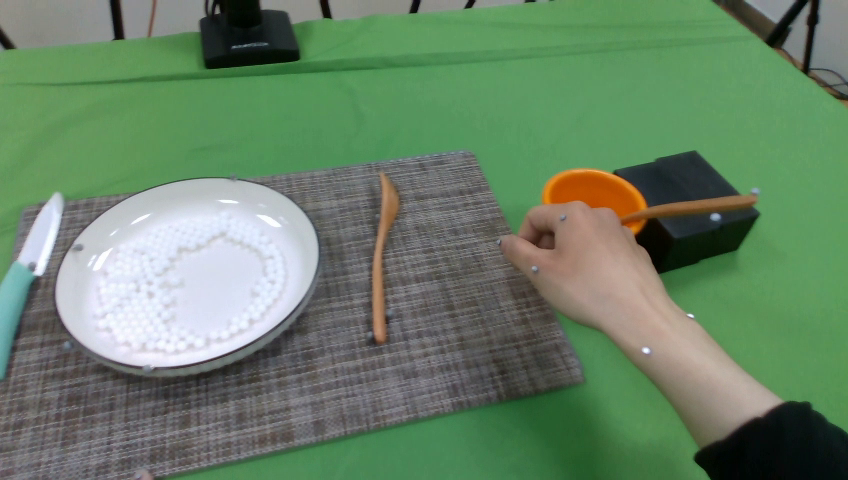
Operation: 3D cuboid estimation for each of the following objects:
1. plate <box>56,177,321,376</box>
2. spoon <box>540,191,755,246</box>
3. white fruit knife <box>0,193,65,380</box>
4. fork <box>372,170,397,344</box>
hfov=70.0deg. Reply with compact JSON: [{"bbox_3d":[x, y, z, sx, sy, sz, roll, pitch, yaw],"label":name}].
[{"bbox_3d":[-0.191,0.027,0.514,0.209,0.038,0.207,2,47,-2],"label":"plate"},{"bbox_3d":[0.179,-0.019,0.517,0.041,0.193,0.022,-38,103,-38],"label":"spoon"},{"bbox_3d":[-0.341,0.028,0.517,0.027,0.016,0.205,18,39,-27],"label":"white fruit knife"},{"bbox_3d":[-0.038,0.007,0.558,0.018,0.028,0.205,-18,46,21],"label":"fork"}]
